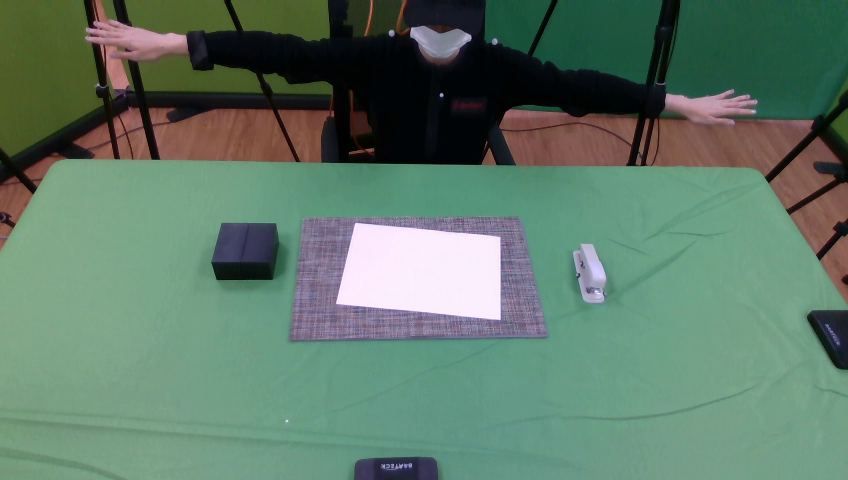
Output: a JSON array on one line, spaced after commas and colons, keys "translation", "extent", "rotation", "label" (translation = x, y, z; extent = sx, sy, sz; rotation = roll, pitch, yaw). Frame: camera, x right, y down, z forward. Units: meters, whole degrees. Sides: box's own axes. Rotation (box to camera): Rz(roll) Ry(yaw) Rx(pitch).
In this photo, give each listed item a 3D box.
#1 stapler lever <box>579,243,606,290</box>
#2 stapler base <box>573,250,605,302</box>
[{"translation": [0.318, 0.044, 1.144], "extent": [0.027, 0.040, 0.117], "rotation": [3, 45, -3], "label": "stapler lever"}, {"translation": [0.317, 0.062, 1.160], "extent": [0.041, 0.024, 0.129], "rotation": [3, 44, -3], "label": "stapler base"}]
